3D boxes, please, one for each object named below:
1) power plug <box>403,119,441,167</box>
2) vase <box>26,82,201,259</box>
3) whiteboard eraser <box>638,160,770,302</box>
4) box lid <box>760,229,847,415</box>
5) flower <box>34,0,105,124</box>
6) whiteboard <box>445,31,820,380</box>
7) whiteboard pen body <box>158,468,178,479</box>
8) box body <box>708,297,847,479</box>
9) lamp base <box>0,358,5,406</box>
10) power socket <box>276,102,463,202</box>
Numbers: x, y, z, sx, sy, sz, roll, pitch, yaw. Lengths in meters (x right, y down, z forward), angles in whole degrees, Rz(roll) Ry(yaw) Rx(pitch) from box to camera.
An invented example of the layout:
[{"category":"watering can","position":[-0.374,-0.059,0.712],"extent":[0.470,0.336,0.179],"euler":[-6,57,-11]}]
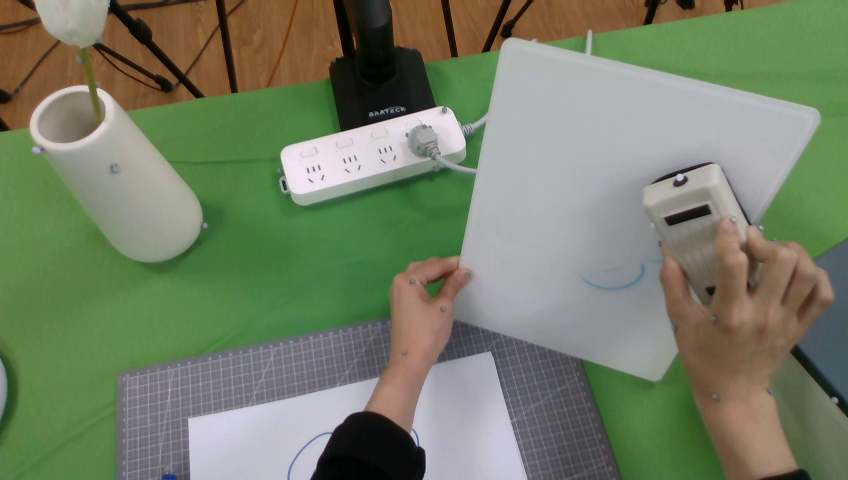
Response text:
[{"category":"power plug","position":[-0.003,-0.102,0.676],"extent":[0.035,0.053,0.072],"euler":[-7,69,-3]},{"category":"vase","position":[-0.294,-0.060,0.587],"extent":[0.098,0.201,0.097],"euler":[-1,63,2]},{"category":"whiteboard eraser","position":[0.209,-0.006,0.450],"extent":[0.055,0.113,0.041],"euler":[-22,28,36]},{"category":"box lid","position":[0.454,0.120,0.430],"extent":[0.263,0.015,0.368],"euler":[-28,67,-13]},{"category":"flower","position":[-0.273,-0.094,0.513],"extent":[0.038,0.362,0.044],"euler":[37,59,-1]},{"category":"whiteboard","position":[0.161,-0.046,0.554],"extent":[0.216,0.308,0.143],"euler":[17,44,9]},{"category":"whiteboard pen body","position":[-0.224,0.268,0.515],"extent":[0.017,0.017,0.139],"euler":[-4,65,-1]},{"category":"box body","position":[0.457,0.157,0.496],"extent":[0.254,0.161,0.361],"euler":[-28,66,-13]},{"category":"lamp base","position":[-0.495,0.117,0.508],"extent":[0.178,0.182,0.160],"euler":[18,64,13]},{"category":"power socket","position":[-0.061,-0.103,0.702],"extent":[0.227,0.033,0.071],"euler":[-16,65,-8]}]
